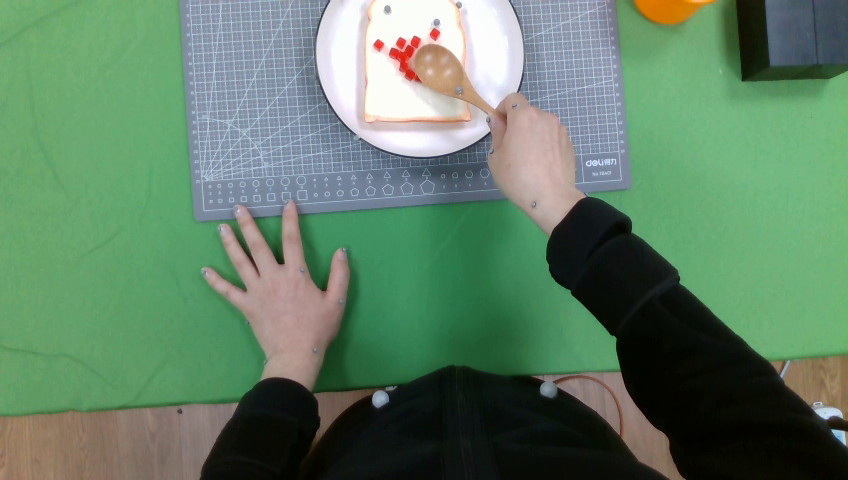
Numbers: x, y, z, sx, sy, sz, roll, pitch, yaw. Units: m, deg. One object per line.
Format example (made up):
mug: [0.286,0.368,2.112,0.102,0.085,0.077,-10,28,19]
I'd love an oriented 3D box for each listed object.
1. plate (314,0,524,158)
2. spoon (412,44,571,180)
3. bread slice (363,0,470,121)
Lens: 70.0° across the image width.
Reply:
plate: [-0.004,-0.183,0.612,0.209,0.038,0.209,0,88,-3]
spoon: [0.063,-0.120,0.574,0.192,0.022,0.041,43,87,15]
bread slice: [-0.012,-0.184,0.612,0.107,0.018,0.134,-4,88,-4]
